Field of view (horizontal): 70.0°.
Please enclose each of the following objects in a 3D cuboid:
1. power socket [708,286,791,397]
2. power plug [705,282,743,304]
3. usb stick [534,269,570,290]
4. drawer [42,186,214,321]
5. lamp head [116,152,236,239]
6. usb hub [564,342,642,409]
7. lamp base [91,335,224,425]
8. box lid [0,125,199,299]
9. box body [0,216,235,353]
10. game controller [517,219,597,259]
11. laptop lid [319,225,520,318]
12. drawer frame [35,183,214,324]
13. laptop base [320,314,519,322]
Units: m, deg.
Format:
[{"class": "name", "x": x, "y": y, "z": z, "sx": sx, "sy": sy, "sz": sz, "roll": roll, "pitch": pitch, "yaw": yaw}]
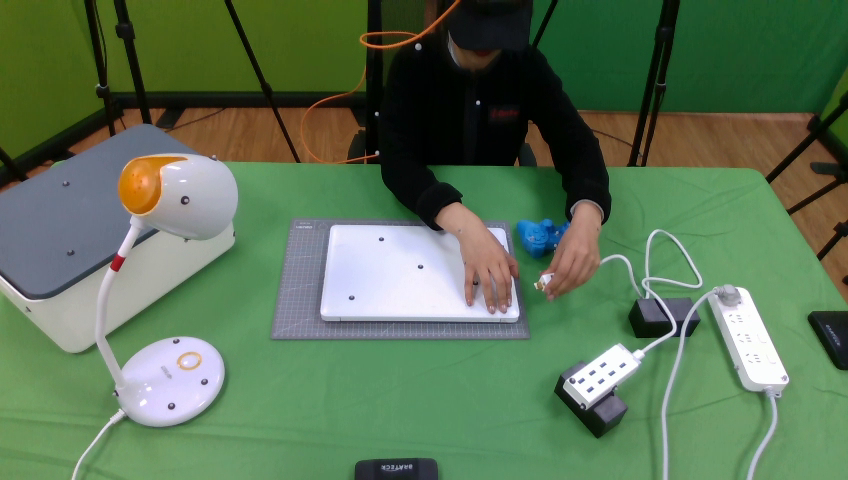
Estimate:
[{"class": "power socket", "x": 0.567, "y": 0.167, "z": 1.064, "sx": 0.072, "sy": 0.033, "sz": 0.225, "roll": 2, "pitch": 46, "yaw": -1}, {"class": "power plug", "x": 0.538, "y": 0.097, "z": 1.098, "sx": 0.072, "sy": 0.053, "sz": 0.035, "roll": 8, "pitch": 47, "yaw": 8}, {"class": "usb stick", "x": 0.222, "y": 0.070, "z": 1.060, "sx": 0.059, "sy": 0.027, "sz": 0.021, "roll": -14, "pitch": 59, "yaw": -13}, {"class": "drawer", "x": -0.529, "y": 0.018, "z": 1.097, "sx": 0.194, "sy": 0.073, "sz": 0.211, "roll": 29, "pitch": 53, "yaw": 20}, {"class": "lamp head", "x": -0.315, "y": -0.057, "z": 0.748, "sx": 0.112, "sy": 0.112, "sz": 0.123, "roll": 26, "pitch": 10, "yaw": 20}, {"class": "usb hub", "x": 0.278, "y": 0.208, "z": 0.942, "sx": 0.125, "sy": 0.025, "sz": 0.049, "roll": -26, "pitch": 52, "yaw": -27}, {"class": "lamp base", "x": -0.401, "y": 0.170, "z": 0.892, "sx": 0.160, "sy": 0.181, "sz": 0.179, "roll": 30, "pitch": 53, "yaw": 23}, {"class": "box lid", "x": -0.540, "y": -0.068, "z": 1.016, "sx": 0.262, "sy": 0.015, "sz": 0.371, "roll": 30, "pitch": 51, "yaw": 23}, {"class": "box body", "x": -0.550, "y": -0.007, "z": 1.068, "sx": 0.253, "sy": 0.161, "sz": 0.363, "roll": 30, "pitch": 51, "yaw": 23}, {"class": "game controller", "x": 0.269, "y": -0.012, "z": 1.210, "sx": 0.155, "sy": 0.052, "sz": 0.096, "roll": 1, "pitch": 49, "yaw": -2}, {"class": "laptop lid", "x": -0.008, "y": 0.052, "z": 1.131, "sx": 0.357, "sy": 0.013, "sz": 0.240, "roll": 2, "pitch": 44, "yaw": -2}, {"class": "drawer frame", "x": -0.531, "y": 0.018, "z": 1.092, "sx": 0.201, "sy": 0.083, "sz": 0.213, "roll": 29, "pitch": 52, "yaw": 21}, {"class": "laptop base", "x": -0.009, "y": 0.062, "z": 1.139, "sx": 0.354, "sy": 0.023, "sz": 0.234, "roll": 1, "pitch": 43, "yaw": -3}]
